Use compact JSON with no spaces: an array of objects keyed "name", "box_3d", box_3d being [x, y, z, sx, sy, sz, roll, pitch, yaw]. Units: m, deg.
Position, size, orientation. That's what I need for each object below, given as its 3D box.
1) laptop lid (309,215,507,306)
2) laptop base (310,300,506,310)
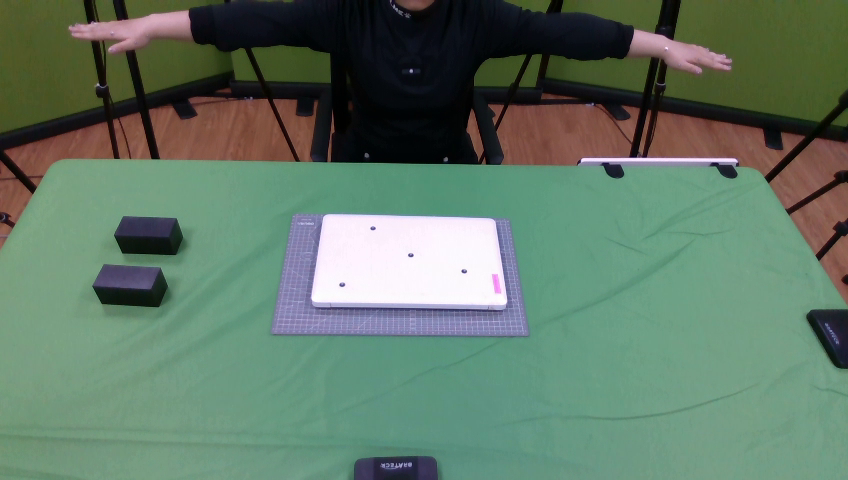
[{"name":"laptop lid","box_3d":[-0.028,0.033,1.149,0.357,0.013,0.240,3,44,-2]},{"name":"laptop base","box_3d":[-0.029,0.043,1.156,0.354,0.023,0.234,1,43,-3]}]
